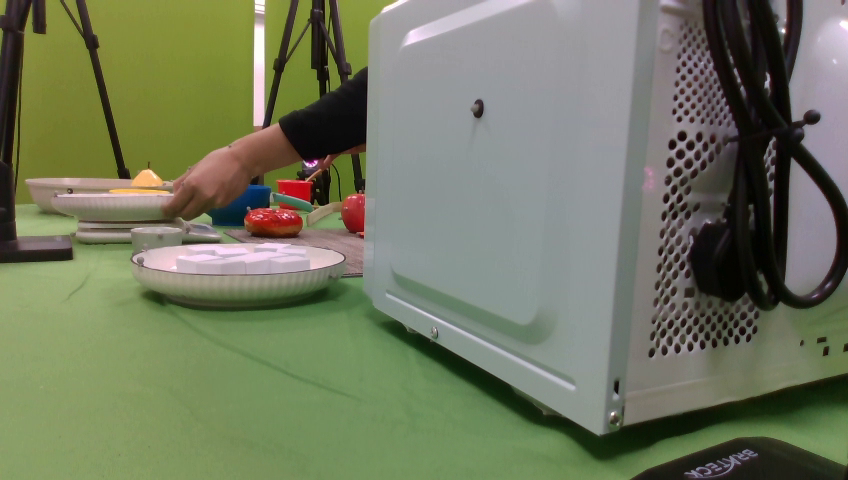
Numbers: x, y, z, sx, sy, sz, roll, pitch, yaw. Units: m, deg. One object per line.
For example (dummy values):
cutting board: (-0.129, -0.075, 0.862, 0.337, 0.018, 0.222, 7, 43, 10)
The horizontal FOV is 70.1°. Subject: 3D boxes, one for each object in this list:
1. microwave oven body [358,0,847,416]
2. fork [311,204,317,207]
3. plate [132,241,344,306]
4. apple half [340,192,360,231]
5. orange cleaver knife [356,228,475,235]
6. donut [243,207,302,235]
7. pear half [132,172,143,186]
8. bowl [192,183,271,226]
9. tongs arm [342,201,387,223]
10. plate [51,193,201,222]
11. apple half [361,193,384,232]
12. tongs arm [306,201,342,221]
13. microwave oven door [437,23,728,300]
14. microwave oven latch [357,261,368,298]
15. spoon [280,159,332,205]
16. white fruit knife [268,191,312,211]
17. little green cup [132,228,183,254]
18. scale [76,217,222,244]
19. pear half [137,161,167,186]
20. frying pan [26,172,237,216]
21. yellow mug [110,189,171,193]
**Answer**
microwave oven body: (0.211, -0.047, 0.474, 0.444, 0.260, 0.324, -1, 7, -28)
fork: (-0.356, -0.105, 1.526, 0.208, 0.018, 0.028, 16, -6, -41)
plate: (-0.187, 0.033, 0.625, 0.208, 0.039, 0.207, 2, 8, 0)
apple half: (-0.130, -0.054, 1.143, 0.053, 0.074, 0.081, 0, 11, 12)
orange cleaver knife: (-0.017, -0.015, 1.080, 0.211, 0.012, 0.077, 0, 1, -2)
donut: (-0.261, -0.032, 1.043, 0.099, 0.048, 0.099, 4, 8, 0)
pear half: (-0.638, -0.113, 1.361, 0.031, 0.088, 0.070, 5, 11, 4)
bowl: (-0.382, -0.071, 1.202, 0.151, 0.077, 0.151, 3, 7, 0)
tongs arm: (-0.148, -0.069, 1.430, 0.051, 0.026, 0.383, -2, 7, -14)
plate: (-0.459, -0.053, 0.945, 0.209, 0.038, 0.209, 0, 6, 0)
apple half: (-0.092, -0.053, 1.136, 0.033, 0.081, 0.081, -1, 7, 13)
tongs arm: (-0.233, -0.071, 1.416, 0.028, 0.028, 0.387, -3, 6, 1)
microwave oven door: (0.180, -0.073, 0.621, 0.358, 0.243, 0.039, -2, 8, -29)
microwave oven latch: (-0.019, 0.033, 0.530, 0.079, 0.029, 0.030, -1, 7, -26)
spoon: (-0.316, -0.159, 1.640, 0.194, 0.022, 0.041, -50, 32, -20)
white fruit knife: (-0.364, -0.105, 1.464, 0.208, 0.027, 0.016, 15, 0, -34)
little green cup: (-0.342, 0.006, 0.779, 0.061, 0.038, 0.061, 2, 8, 0)
scale: (-0.435, -0.018, 0.963, 0.202, 0.031, 0.148, -1, 9, -27)
pear half: (-0.602, -0.120, 1.354, 0.056, 0.110, 0.076, 4, 11, 6)
frying pan: (-0.624, -0.118, 1.387, 0.305, 0.102, 0.490, 8, 17, 32)
yellow mug: (-0.519, -0.055, 1.081, 0.099, 0.064, 0.131, 7, 9, 26)
